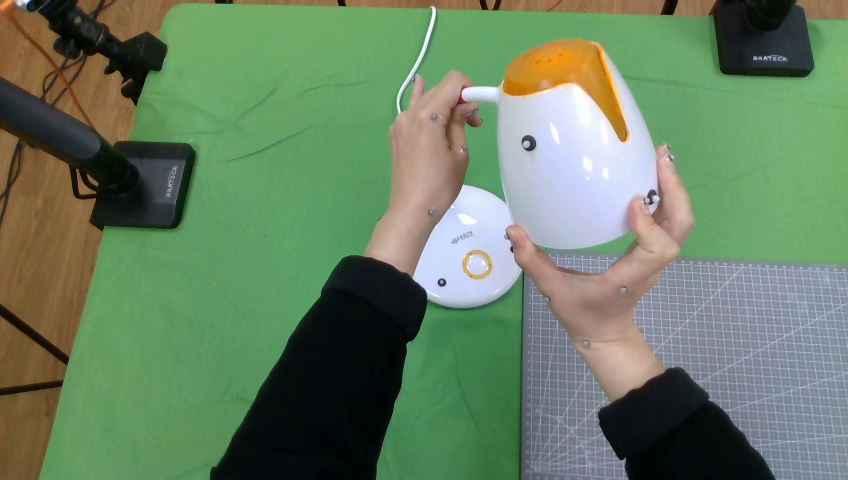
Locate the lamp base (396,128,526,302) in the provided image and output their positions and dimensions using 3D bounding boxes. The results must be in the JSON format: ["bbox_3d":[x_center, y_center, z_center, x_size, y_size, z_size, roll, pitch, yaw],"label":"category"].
[{"bbox_3d":[0.033,-0.036,0.683,0.160,0.181,0.178,-36,69,-10],"label":"lamp base"}]

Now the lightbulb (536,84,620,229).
[{"bbox_3d":[0.109,-0.057,0.430,0.059,0.108,0.059,-6,35,4],"label":"lightbulb"}]

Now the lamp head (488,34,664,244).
[{"bbox_3d":[0.096,-0.077,0.418,0.112,0.124,0.111,-21,31,14],"label":"lamp head"}]
